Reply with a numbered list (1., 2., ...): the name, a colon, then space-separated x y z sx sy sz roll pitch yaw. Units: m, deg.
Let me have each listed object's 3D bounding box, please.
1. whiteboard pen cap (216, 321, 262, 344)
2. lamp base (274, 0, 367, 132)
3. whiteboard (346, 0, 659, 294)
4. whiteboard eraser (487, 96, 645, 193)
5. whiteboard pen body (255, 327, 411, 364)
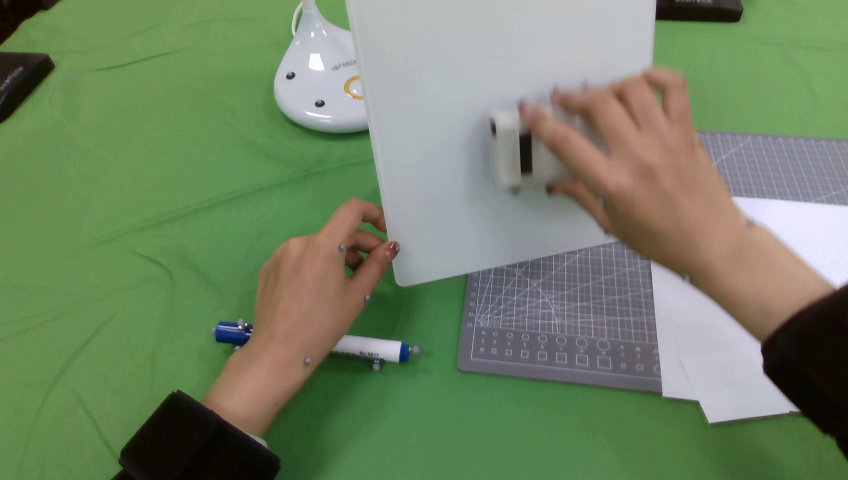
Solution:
1. whiteboard pen cap: -0.139 0.071 0.461 0.033 0.018 0.018 5 49 4
2. lamp base: -0.097 -0.231 0.623 0.160 0.182 0.177 -33 53 -24
3. whiteboard: 0.052 -0.141 0.493 0.217 0.308 0.142 -11 30 -6
4. whiteboard eraser: 0.103 -0.071 0.445 0.113 0.056 0.041 -10 27 -8
5. whiteboard pen body: -0.080 0.078 0.456 0.140 0.017 0.017 5 49 6
